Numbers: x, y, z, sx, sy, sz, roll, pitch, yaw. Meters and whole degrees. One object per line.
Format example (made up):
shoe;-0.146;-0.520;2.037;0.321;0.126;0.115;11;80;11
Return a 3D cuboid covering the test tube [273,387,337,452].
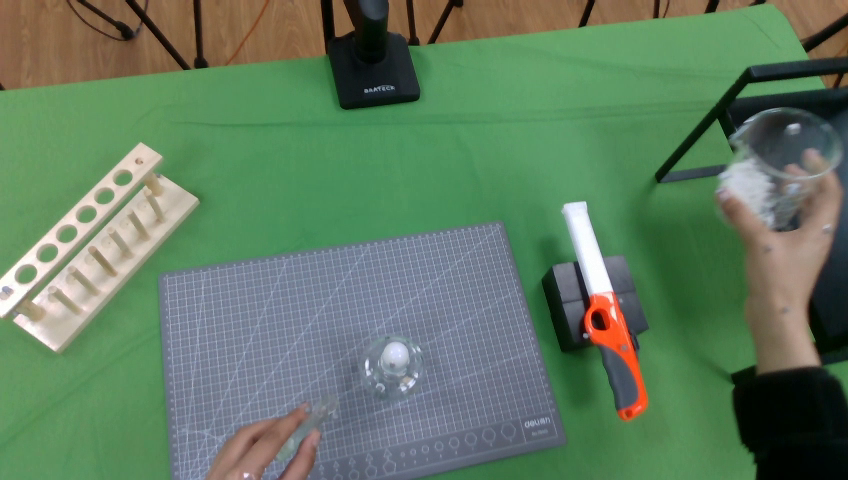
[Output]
test tube;-0.112;0.168;0.556;0.017;0.150;0.017;17;51;-21

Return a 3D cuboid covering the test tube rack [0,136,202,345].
test tube rack;-0.379;-0.001;0.716;0.066;0.085;0.241;33;67;8

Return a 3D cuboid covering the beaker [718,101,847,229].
beaker;0.310;-0.062;0.539;0.084;0.101;0.073;11;63;12

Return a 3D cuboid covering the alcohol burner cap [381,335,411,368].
alcohol burner cap;-0.030;0.119;0.654;0.034;0.048;0.033;1;71;-2

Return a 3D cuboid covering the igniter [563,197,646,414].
igniter;0.219;0.072;0.743;0.057;0.025;0.274;-7;67;-7

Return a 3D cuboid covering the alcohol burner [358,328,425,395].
alcohol burner;-0.035;0.133;0.687;0.078;0.120;0.077;3;64;-7
